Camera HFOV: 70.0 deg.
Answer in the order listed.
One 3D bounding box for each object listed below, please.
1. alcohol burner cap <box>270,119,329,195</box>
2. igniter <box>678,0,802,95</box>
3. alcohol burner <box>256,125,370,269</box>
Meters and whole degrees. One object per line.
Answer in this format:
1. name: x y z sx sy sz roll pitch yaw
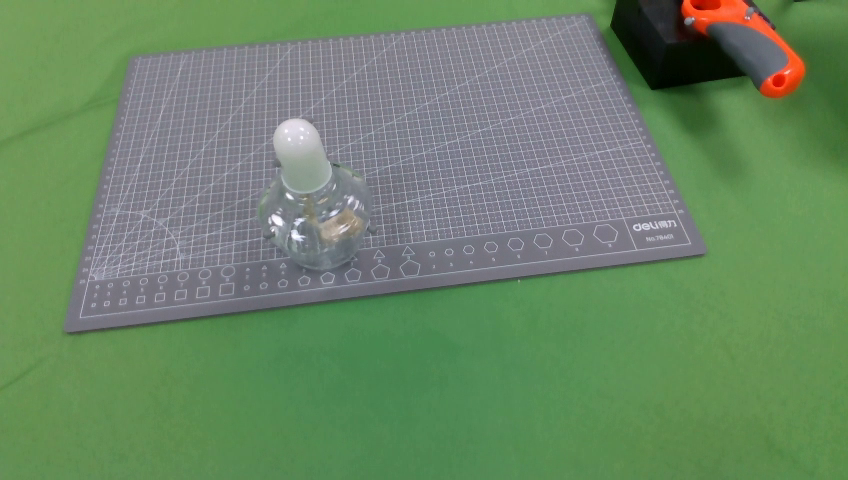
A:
1. alcohol burner cap: -0.078 -0.054 0.372 0.034 0.048 0.033 0 58 0
2. igniter: 0.239 -0.216 0.526 0.057 0.025 0.273 -13 53 -5
3. alcohol burner: -0.076 -0.033 0.401 0.078 0.120 0.077 -1 56 1
